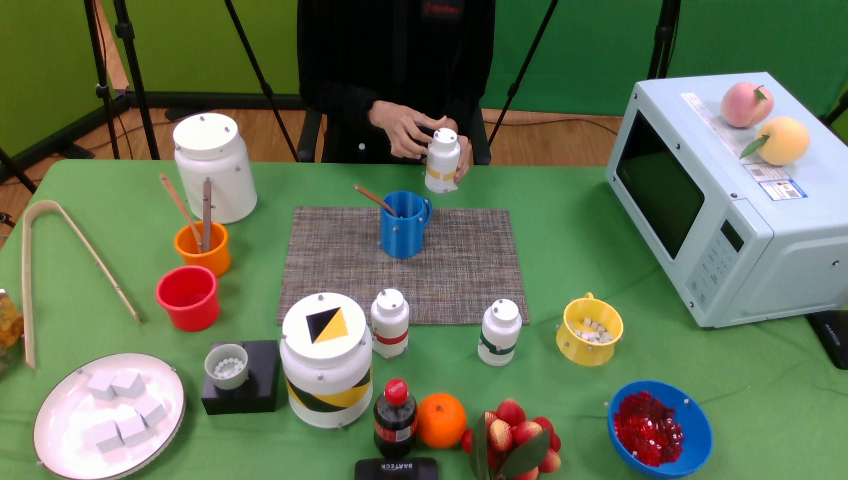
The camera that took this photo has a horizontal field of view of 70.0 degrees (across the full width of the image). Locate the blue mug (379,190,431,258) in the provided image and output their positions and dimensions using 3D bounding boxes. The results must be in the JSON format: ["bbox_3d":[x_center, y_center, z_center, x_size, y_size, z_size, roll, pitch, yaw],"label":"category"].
[{"bbox_3d":[-0.032,-0.037,1.169,0.116,0.106,0.082,-29,55,-28],"label":"blue mug"}]

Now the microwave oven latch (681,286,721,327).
[{"bbox_3d":[0.494,0.119,1.087,0.030,0.029,0.078,-5,46,-9],"label":"microwave oven latch"}]

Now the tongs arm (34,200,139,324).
[{"bbox_3d":[-0.622,0.034,1.105,0.051,0.026,0.382,-32,56,-26],"label":"tongs arm"}]

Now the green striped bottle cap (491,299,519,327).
[{"bbox_3d":[0.128,0.115,0.958,0.044,0.020,0.044,1,46,-1],"label":"green striped bottle cap"}]

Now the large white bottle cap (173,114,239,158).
[{"bbox_3d":[-0.403,-0.195,1.122,0.115,0.018,0.114,2,47,-2],"label":"large white bottle cap"}]

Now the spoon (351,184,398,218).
[{"bbox_3d":[-0.070,-0.056,1.124,0.021,0.195,0.041,-34,47,13],"label":"spoon"}]

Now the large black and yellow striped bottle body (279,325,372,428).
[{"bbox_3d":[-0.143,0.181,0.900,0.131,0.185,0.130,2,46,-2],"label":"large black and yellow striped bottle body"}]

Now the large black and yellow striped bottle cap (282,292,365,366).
[{"bbox_3d":[-0.139,0.121,0.841,0.115,0.019,0.114,3,47,-3],"label":"large black and yellow striped bottle cap"}]

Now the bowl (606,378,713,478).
[{"bbox_3d":[0.340,0.292,0.906,0.151,0.077,0.150,2,46,-2],"label":"bowl"}]

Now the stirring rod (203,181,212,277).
[{"bbox_3d":[-0.396,-0.021,1.108,0.014,0.006,0.176,-1,89,-1],"label":"stirring rod"}]

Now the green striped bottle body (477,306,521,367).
[{"bbox_3d":[0.124,0.151,0.995,0.063,0.120,0.063,2,46,-2],"label":"green striped bottle body"}]

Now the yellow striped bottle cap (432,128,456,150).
[{"bbox_3d":[0.038,-0.187,1.116,0.044,0.019,0.044,2,49,-3],"label":"yellow striped bottle cap"}]

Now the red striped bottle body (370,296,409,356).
[{"bbox_3d":[-0.058,0.134,0.997,0.063,0.120,0.062,4,47,-4],"label":"red striped bottle body"}]

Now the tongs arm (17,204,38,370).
[{"bbox_3d":[-0.698,0.069,1.069,0.028,0.028,0.385,-20,50,-13],"label":"tongs arm"}]

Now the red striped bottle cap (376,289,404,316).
[{"bbox_3d":[-0.054,0.098,0.958,0.044,0.018,0.044,0,48,1],"label":"red striped bottle cap"}]

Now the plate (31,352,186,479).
[{"bbox_3d":[-0.459,0.262,0.898,0.209,0.038,0.208,2,46,-2],"label":"plate"}]

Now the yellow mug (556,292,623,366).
[{"bbox_3d":[0.285,0.145,1.051,0.100,0.064,0.130,7,45,3],"label":"yellow mug"}]

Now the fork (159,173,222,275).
[{"bbox_3d":[-0.427,-0.029,1.103,0.028,0.018,0.207,-31,99,-30],"label":"fork"}]

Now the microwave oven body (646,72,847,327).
[{"bbox_3d":[0.607,-0.090,1.164,0.326,0.261,0.438,-7,46,-10],"label":"microwave oven body"}]

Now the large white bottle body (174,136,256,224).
[{"bbox_3d":[-0.408,-0.137,1.183,0.131,0.185,0.130,2,46,-2],"label":"large white bottle body"}]

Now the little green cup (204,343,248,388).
[{"bbox_3d":[-0.294,0.190,0.909,0.061,0.039,0.061,1,48,0],"label":"little green cup"}]

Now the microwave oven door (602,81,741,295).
[{"bbox_3d":[0.456,-0.107,1.162,0.039,0.245,0.353,-6,47,-11],"label":"microwave oven door"}]

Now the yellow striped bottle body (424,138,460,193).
[{"bbox_3d":[0.035,-0.152,1.156,0.063,0.121,0.062,3,50,-3],"label":"yellow striped bottle body"}]
